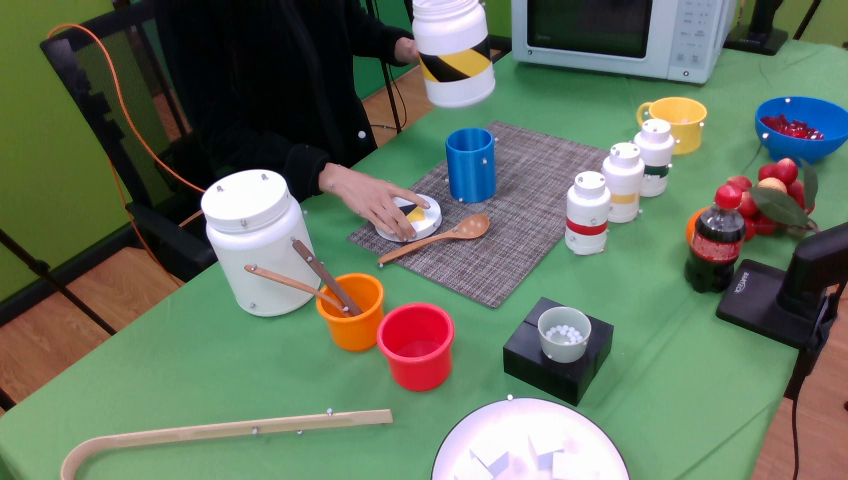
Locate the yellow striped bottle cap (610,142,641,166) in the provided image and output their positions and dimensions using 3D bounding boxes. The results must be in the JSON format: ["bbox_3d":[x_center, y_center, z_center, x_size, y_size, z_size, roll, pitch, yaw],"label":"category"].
[{"bbox_3d":[0.308,-0.131,0.925,0.044,0.019,0.044,-4,45,4],"label":"yellow striped bottle cap"}]

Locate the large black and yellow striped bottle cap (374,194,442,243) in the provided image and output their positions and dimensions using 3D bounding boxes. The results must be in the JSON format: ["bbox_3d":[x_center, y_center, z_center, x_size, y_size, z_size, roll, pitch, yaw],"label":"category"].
[{"bbox_3d":[-0.028,-0.038,1.018,0.115,0.019,0.114,-4,41,4],"label":"large black and yellow striped bottle cap"}]

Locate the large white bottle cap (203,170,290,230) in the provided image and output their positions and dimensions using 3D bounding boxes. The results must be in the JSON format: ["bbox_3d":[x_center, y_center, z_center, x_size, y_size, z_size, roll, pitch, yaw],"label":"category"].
[{"bbox_3d":[-0.241,-0.057,0.822,0.115,0.018,0.114,-4,40,4],"label":"large white bottle cap"}]

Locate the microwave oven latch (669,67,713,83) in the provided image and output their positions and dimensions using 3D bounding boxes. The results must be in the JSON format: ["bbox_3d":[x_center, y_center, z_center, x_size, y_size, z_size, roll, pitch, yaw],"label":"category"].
[{"bbox_3d":[0.556,-0.349,1.261,0.078,0.029,0.030,16,46,27],"label":"microwave oven latch"}]

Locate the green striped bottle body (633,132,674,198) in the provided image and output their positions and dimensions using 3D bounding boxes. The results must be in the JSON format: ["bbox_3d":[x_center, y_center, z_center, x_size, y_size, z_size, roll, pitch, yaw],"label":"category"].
[{"bbox_3d":[0.376,-0.135,1.001,0.063,0.120,0.063,-5,40,5],"label":"green striped bottle body"}]

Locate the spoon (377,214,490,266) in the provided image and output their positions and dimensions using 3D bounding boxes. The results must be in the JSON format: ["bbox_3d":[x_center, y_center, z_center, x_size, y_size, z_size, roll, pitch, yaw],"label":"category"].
[{"bbox_3d":[0.015,0.002,0.966,0.194,0.022,0.041,-18,63,-12],"label":"spoon"}]

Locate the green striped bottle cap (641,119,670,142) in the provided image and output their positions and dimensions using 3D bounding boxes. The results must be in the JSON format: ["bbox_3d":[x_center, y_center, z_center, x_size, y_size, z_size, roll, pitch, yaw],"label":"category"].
[{"bbox_3d":[0.371,-0.175,0.968,0.044,0.020,0.044,-5,42,5],"label":"green striped bottle cap"}]

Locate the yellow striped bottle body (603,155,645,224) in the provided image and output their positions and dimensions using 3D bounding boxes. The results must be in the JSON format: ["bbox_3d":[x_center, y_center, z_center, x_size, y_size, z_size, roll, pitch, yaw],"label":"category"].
[{"bbox_3d":[0.314,-0.090,0.957,0.063,0.121,0.062,-4,40,4],"label":"yellow striped bottle body"}]

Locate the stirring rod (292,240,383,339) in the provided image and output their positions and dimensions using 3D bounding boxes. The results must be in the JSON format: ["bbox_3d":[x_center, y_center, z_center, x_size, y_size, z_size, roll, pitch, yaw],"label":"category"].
[{"bbox_3d":[-0.118,0.068,0.826,0.176,0.006,0.014,49,60,-4],"label":"stirring rod"}]

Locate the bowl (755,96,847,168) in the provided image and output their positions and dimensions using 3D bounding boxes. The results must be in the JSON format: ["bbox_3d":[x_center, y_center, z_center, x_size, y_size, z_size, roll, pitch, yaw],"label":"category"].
[{"bbox_3d":[0.645,-0.177,1.041,0.151,0.077,0.150,-5,40,4],"label":"bowl"}]

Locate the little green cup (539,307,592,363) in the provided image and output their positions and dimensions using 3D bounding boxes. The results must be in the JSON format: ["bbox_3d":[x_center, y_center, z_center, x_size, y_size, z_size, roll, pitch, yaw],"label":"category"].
[{"bbox_3d":[0.168,0.115,0.721,0.061,0.039,0.061,-4,42,4],"label":"little green cup"}]

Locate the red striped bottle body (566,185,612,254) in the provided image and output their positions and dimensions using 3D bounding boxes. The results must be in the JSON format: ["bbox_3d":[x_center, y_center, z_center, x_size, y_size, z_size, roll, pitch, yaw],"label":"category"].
[{"bbox_3d":[0.248,-0.041,0.910,0.063,0.120,0.062,-4,41,4],"label":"red striped bottle body"}]

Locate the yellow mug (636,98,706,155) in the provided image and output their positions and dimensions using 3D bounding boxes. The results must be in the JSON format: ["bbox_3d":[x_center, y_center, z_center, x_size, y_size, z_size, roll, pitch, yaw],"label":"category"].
[{"bbox_3d":[0.453,-0.217,1.128,0.100,0.064,0.129,-34,46,-27],"label":"yellow mug"}]

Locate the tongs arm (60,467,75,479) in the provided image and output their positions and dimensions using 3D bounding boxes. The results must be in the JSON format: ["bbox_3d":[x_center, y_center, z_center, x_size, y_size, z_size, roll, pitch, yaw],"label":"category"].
[{"bbox_3d":[-0.239,0.301,0.648,0.386,0.028,0.028,6,49,16],"label":"tongs arm"}]

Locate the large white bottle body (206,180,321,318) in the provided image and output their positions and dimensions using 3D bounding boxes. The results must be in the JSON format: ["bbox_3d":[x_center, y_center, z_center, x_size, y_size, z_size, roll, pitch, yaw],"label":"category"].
[{"bbox_3d":[-0.233,0.007,0.876,0.130,0.185,0.130,-5,40,4],"label":"large white bottle body"}]

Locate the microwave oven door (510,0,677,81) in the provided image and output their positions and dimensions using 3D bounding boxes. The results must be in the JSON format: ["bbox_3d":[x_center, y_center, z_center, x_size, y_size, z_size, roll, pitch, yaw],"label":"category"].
[{"bbox_3d":[0.354,-0.478,1.290,0.353,0.245,0.039,15,45,25],"label":"microwave oven door"}]

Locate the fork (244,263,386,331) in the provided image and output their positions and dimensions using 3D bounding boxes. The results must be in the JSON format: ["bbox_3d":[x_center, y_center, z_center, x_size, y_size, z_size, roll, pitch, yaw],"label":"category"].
[{"bbox_3d":[-0.141,0.077,0.807,0.209,0.018,0.028,30,44,-24],"label":"fork"}]

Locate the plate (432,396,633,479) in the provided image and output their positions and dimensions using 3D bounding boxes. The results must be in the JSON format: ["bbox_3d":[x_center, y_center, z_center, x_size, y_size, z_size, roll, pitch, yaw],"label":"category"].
[{"bbox_3d":[0.112,0.261,0.634,0.209,0.038,0.208,-5,40,4],"label":"plate"}]

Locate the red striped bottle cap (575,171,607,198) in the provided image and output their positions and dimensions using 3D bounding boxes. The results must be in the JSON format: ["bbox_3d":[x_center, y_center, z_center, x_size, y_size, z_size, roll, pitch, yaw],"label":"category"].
[{"bbox_3d":[0.242,-0.081,0.876,0.044,0.018,0.044,-5,44,5],"label":"red striped bottle cap"}]

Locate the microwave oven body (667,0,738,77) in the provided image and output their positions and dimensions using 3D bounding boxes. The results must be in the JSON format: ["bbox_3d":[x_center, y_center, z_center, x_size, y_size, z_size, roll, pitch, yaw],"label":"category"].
[{"bbox_3d":[0.462,-0.552,1.369,0.439,0.261,0.326,15,45,26],"label":"microwave oven body"}]

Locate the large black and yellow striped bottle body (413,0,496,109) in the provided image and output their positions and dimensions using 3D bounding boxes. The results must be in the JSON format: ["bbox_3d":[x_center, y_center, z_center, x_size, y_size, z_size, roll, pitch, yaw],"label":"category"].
[{"bbox_3d":[0.053,-0.345,1.085,0.130,0.185,0.130,-9,38,8],"label":"large black and yellow striped bottle body"}]

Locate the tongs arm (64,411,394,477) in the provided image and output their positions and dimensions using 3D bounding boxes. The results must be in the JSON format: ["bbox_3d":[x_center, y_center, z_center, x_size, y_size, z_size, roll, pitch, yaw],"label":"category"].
[{"bbox_3d":[-0.228,0.241,0.715,0.385,0.026,0.050,-5,43,4],"label":"tongs arm"}]

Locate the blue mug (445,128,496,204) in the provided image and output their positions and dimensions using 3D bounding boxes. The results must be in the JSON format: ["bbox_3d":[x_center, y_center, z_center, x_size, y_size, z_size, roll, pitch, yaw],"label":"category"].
[{"bbox_3d":[0.083,-0.139,1.058,0.082,0.106,0.116,-2,40,7],"label":"blue mug"}]
